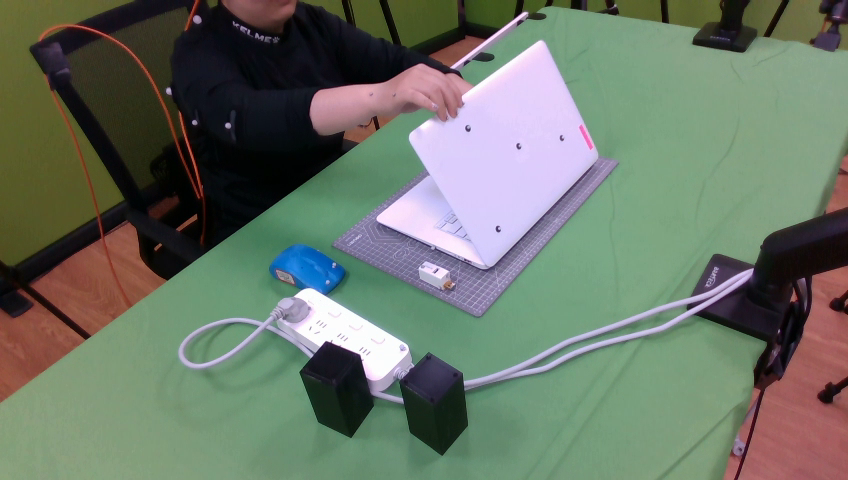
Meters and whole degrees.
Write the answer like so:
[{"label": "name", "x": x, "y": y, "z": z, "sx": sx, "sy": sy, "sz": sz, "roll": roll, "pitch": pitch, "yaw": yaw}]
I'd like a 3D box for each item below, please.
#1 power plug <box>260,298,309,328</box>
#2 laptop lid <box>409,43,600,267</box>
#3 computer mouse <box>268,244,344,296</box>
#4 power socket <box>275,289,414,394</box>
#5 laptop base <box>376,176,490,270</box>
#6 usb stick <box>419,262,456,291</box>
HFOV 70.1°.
[{"label": "power plug", "x": -0.193, "y": 0.107, "z": 0.831, "sx": 0.073, "sy": 0.053, "sz": 0.035, "roll": -32, "pitch": 44, "yaw": -25}, {"label": "laptop lid", "x": 0.147, "y": -0.148, "z": 0.960, "sx": 0.358, "sy": 0.242, "sz": 0.013, "roll": -40, "pitch": 15, "yaw": -34}, {"label": "computer mouse", "x": -0.182, "y": 0.043, "z": 0.933, "sx": 0.116, "sy": 0.041, "sz": 0.063, "roll": 23, "pitch": 47, "yaw": 25}, {"label": "power socket", "x": -0.115, "y": 0.133, "z": 0.820, "sx": 0.225, "sy": 0.033, "sz": 0.072, "roll": 25, "pitch": 49, "yaw": 32}, {"label": "laptop base", "x": 0.115, "y": -0.086, "z": 1.057, "sx": 0.233, "sy": 0.023, "sz": 0.355, "roll": 21, "pitch": 48, "yaw": 34}, {"label": "usb stick", "x": 0.021, "y": 0.056, "z": 0.892, "sx": 0.058, "sy": 0.027, "sz": 0.021, "roll": 24, "pitch": 46, "yaw": 31}]
